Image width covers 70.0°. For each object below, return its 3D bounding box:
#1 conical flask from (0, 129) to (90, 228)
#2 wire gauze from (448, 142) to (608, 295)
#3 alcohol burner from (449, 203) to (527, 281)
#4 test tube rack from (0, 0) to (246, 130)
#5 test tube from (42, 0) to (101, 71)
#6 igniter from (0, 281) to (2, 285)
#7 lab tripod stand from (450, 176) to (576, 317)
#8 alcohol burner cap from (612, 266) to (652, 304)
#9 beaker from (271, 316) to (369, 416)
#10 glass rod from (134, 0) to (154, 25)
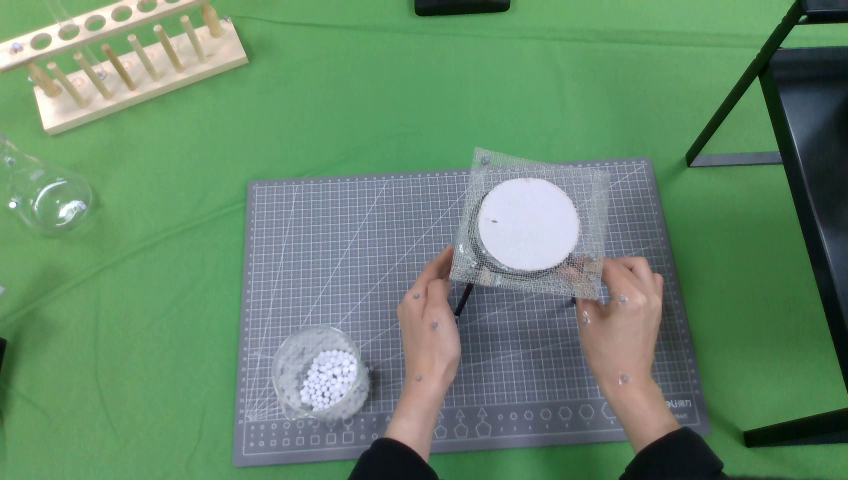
[{"bbox_3d":[-0.404,-0.067,0.612,0.075,0.122,0.075,0,68,1],"label":"conical flask"},{"bbox_3d":[0.090,-0.020,0.507,0.121,0.011,0.124,11,70,3],"label":"wire gauze"},{"bbox_3d":[0.063,-0.004,0.585,0.078,0.120,0.077,0,67,-1],"label":"alcohol burner"},{"bbox_3d":[-0.339,-0.216,0.688,0.242,0.086,0.066,-23,70,-8],"label":"test tube rack"},{"bbox_3d":[-0.383,-0.236,0.643,0.017,0.151,0.017,0,62,0],"label":"test tube"},{"bbox_3d":[-0.482,0.144,0.531,0.057,0.025,0.275,24,70,19],"label":"igniter"},{"bbox_3d":[0.085,0.009,0.568,0.148,0.132,0.147,0,67,0],"label":"lab tripod stand"},{"bbox_3d":[0.209,0.043,0.604,0.034,0.048,0.033,0,70,1],"label":"alcohol burner cap"},{"bbox_3d":[-0.090,0.121,0.546,0.074,0.101,0.083,25,72,11],"label":"beaker"},{"bbox_3d":[-0.319,-0.275,0.640,0.008,0.201,0.008,-3,63,6],"label":"glass rod"}]
